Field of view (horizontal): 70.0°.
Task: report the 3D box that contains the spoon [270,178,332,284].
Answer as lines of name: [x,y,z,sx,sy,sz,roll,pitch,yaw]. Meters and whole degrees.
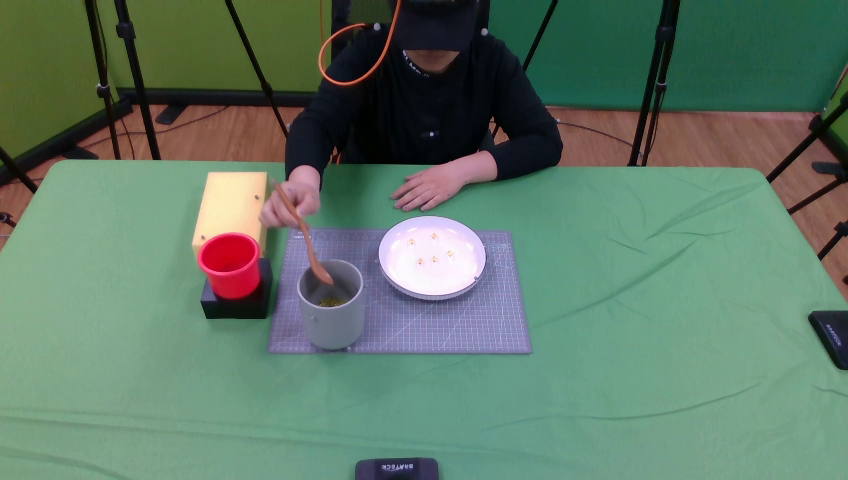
spoon: [-0.190,-0.012,0.944,0.021,0.194,0.041,-18,23,5]

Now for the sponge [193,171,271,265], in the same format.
sponge: [-0.371,-0.047,1.189,0.118,0.061,0.205,-3,47,-6]

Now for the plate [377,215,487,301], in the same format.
plate: [0.015,0.037,1.147,0.208,0.039,0.206,2,46,-2]

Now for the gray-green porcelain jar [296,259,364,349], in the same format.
gray-green porcelain jar: [-0.152,0.111,1.003,0.106,0.127,0.105,2,46,-2]
